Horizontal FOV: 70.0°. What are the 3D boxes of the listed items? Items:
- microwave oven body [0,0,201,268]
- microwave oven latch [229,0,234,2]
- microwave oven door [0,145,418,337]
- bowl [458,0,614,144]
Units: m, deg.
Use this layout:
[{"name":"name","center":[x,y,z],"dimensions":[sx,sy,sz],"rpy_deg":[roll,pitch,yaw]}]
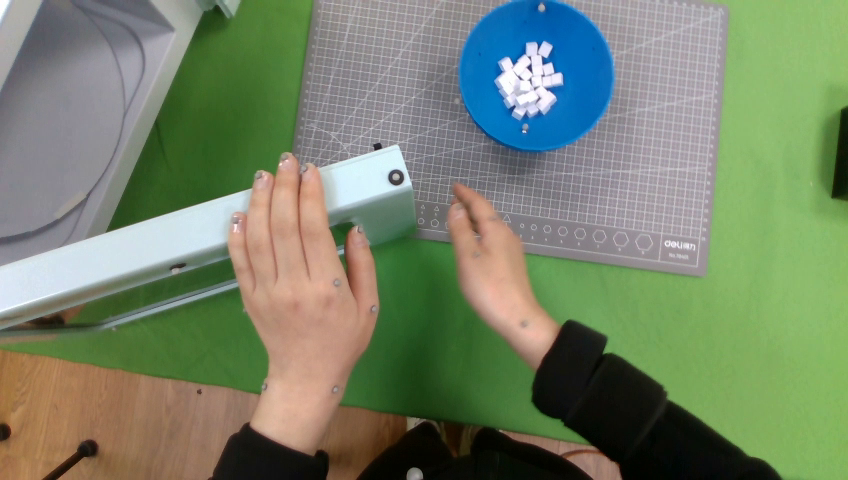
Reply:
[{"name":"microwave oven body","center":[-0.399,-0.190,0.517],"dimensions":[0.326,0.260,0.441],"rpy_deg":[22,86,1]},{"name":"microwave oven latch","center":[-0.196,-0.291,0.624],"dimensions":[0.030,0.029,0.079],"rpy_deg":[23,86,1]},{"name":"microwave oven door","center":[-0.180,0.010,0.500],"dimensions":[0.356,0.244,0.039],"rpy_deg":[-18,84,-2]},{"name":"bowl","center":[0.107,-0.164,0.613],"dimensions":[0.151,0.077,0.151],"rpy_deg":[0,86,0]}]
